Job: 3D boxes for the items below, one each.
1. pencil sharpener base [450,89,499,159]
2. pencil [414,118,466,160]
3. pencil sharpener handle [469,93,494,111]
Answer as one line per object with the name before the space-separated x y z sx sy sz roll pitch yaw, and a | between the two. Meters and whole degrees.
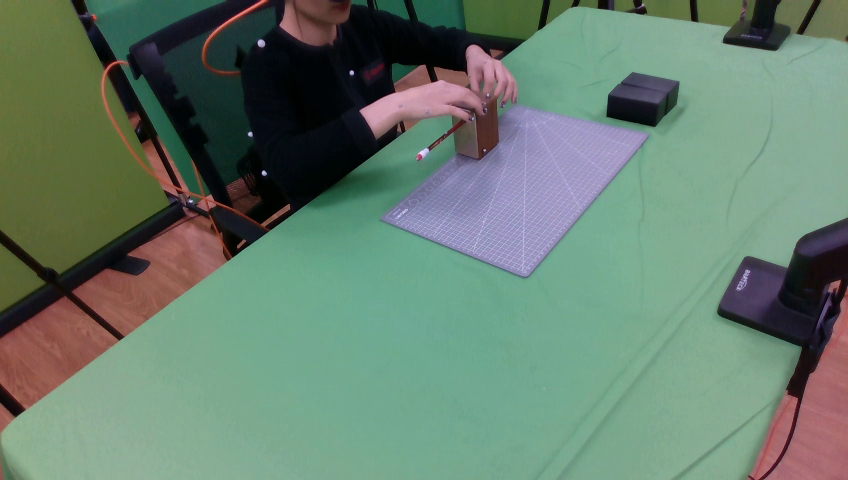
pencil sharpener base | 0.100 -0.222 1.154 0.061 0.107 0.077 22 49 33
pencil | 0.046 -0.196 1.093 0.012 0.012 0.194 23 50 32
pencil sharpener handle | 0.118 -0.272 1.177 0.067 0.036 0.031 -4 32 49
